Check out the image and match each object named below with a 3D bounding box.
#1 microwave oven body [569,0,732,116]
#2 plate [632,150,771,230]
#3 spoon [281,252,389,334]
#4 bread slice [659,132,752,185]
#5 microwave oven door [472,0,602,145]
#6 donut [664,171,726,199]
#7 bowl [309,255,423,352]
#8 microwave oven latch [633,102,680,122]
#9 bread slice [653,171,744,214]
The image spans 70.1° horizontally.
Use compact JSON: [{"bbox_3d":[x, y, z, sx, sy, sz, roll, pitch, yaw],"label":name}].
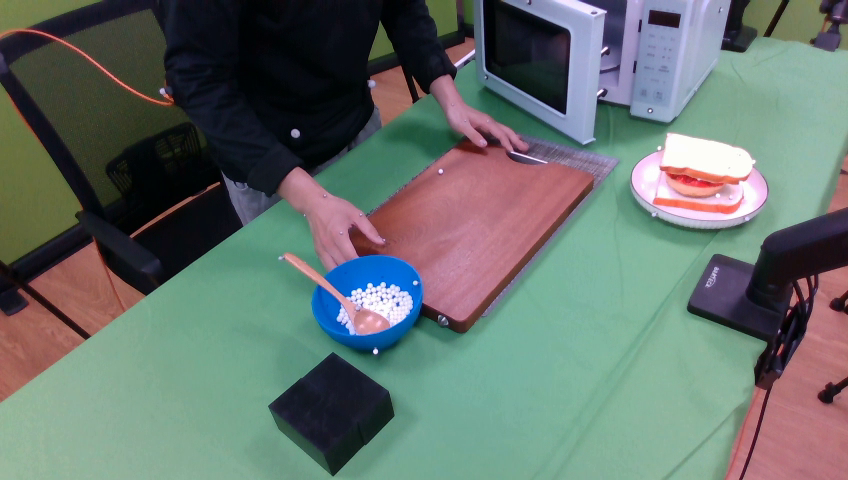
[{"bbox_3d":[0.377,-0.463,1.267,0.438,0.261,0.327,21,49,30],"label":"microwave oven body"},{"bbox_3d":[0.447,-0.081,0.988,0.207,0.039,0.206,-4,40,4],"label":"plate"},{"bbox_3d":[-0.123,0.071,0.811,0.193,0.022,0.042,39,65,16],"label":"spoon"},{"bbox_3d":[0.443,-0.126,0.951,0.134,0.018,0.107,14,43,14],"label":"bread slice"},{"bbox_3d":[0.206,-0.362,1.167,0.039,0.245,0.352,-25,44,-20],"label":"microwave oven door"},{"bbox_3d":[0.438,-0.105,0.973,0.099,0.048,0.098,-10,42,9],"label":"donut"},{"bbox_3d":[-0.072,0.098,0.820,0.151,0.077,0.150,-4,40,4],"label":"bowl"},{"bbox_3d":[0.443,-0.249,1.157,0.078,0.029,0.030,21,49,30],"label":"microwave oven latch"},{"bbox_3d":[0.452,-0.084,0.992,0.131,0.019,0.105,11,45,21],"label":"bread slice"}]
